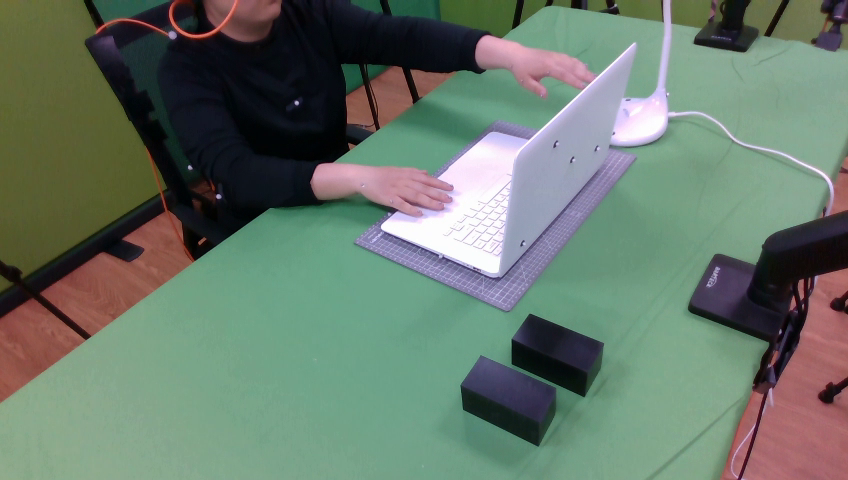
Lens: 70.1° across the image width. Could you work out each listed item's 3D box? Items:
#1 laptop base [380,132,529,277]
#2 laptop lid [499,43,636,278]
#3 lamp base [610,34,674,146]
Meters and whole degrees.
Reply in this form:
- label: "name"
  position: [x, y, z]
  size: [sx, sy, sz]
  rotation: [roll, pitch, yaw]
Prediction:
- label: "laptop base"
  position: [0.122, -0.077, 1.043]
  size: [0.233, 0.023, 0.355]
  rotation: [20, 47, 33]
- label: "laptop lid"
  position: [0.217, -0.122, 0.898]
  size: [0.013, 0.242, 0.358]
  rotation: [28, 50, 25]
- label: "lamp base"
  position: [0.392, -0.291, 1.129]
  size: [0.180, 0.181, 0.159]
  rotation: [-11, 41, -8]
